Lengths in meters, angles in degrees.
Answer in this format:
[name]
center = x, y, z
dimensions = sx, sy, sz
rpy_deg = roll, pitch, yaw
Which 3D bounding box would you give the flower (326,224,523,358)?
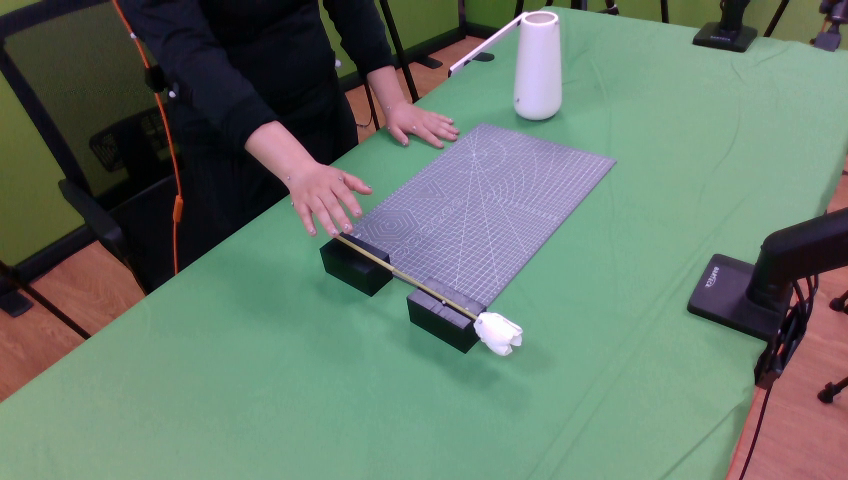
[flower]
center = -0.018, 0.054, 0.836
dimensions = 0.359, 0.038, 0.044
rpy_deg = 31, 83, 32

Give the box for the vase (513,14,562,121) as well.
[vase]
center = 0.225, -0.336, 1.196
dimensions = 0.098, 0.201, 0.097
rpy_deg = -5, 42, 5
